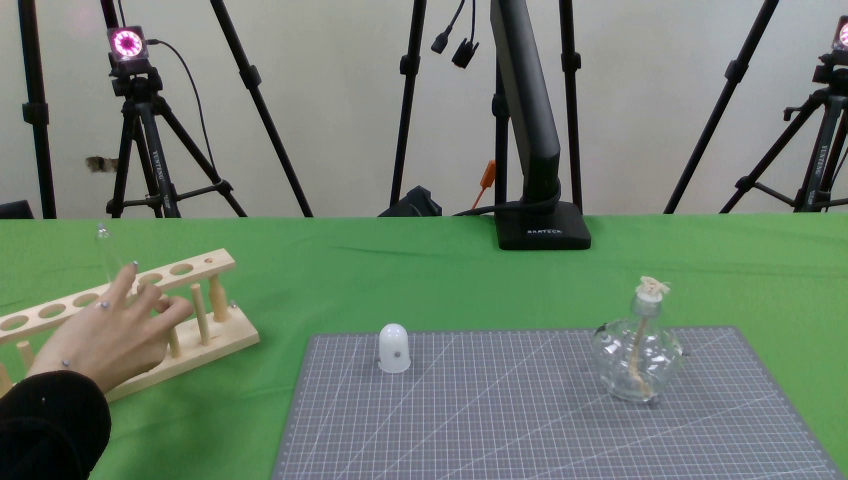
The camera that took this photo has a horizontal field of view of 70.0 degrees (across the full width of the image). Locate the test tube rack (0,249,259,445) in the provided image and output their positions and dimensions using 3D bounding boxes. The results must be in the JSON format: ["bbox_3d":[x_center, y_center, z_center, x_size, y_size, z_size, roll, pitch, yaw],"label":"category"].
[{"bbox_3d":[-0.291,0.094,0.577,0.243,0.086,0.066,-20,35,-29],"label":"test tube rack"}]

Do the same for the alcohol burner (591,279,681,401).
[{"bbox_3d":[0.192,0.085,0.540,0.078,0.120,0.077,1,30,0],"label":"alcohol burner"}]

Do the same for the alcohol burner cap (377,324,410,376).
[{"bbox_3d":[-0.031,0.104,0.587,0.034,0.048,0.033,-1,29,1],"label":"alcohol burner cap"}]

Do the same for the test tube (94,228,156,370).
[{"bbox_3d":[-0.269,0.056,0.549,0.017,0.151,0.017,-2,30,1],"label":"test tube"}]
